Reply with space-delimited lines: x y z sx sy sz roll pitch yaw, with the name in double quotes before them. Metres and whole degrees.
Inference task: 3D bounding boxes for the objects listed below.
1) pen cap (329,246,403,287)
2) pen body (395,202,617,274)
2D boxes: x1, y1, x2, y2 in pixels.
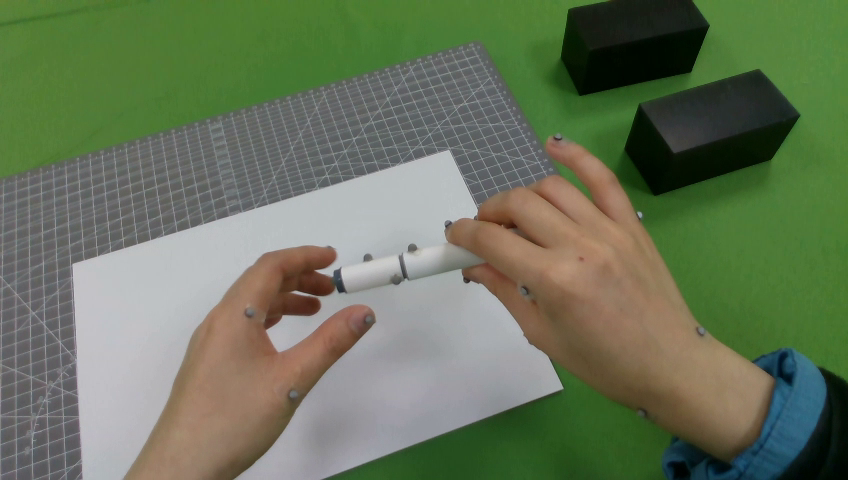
"pen cap" -0.031 0.015 0.324 0.038 0.017 0.017 -11 60 2
"pen body" 0.030 0.002 0.323 0.144 0.017 0.016 -12 60 2
